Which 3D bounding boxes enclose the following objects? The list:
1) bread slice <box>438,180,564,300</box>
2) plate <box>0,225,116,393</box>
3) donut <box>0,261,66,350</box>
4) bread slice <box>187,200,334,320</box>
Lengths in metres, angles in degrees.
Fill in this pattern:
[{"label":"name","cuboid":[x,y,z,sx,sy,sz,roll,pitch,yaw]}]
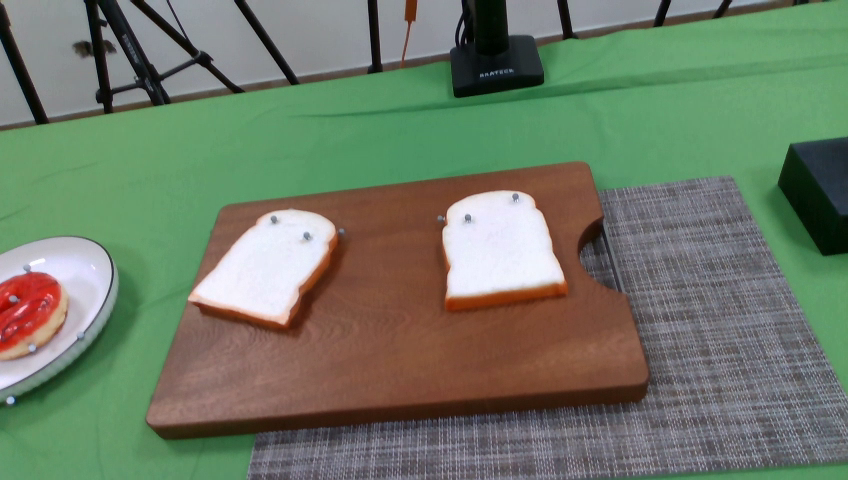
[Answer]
[{"label":"bread slice","cuboid":[0.062,-0.006,0.555,0.105,0.019,0.130,-9,47,3]},{"label":"plate","cuboid":[-0.409,0.071,0.611,0.209,0.038,0.207,-6,46,7]},{"label":"donut","cuboid":[-0.407,0.064,0.601,0.099,0.049,0.098,-7,47,8]},{"label":"bread slice","cuboid":[-0.149,0.014,0.582,0.106,0.018,0.133,8,51,19]}]
